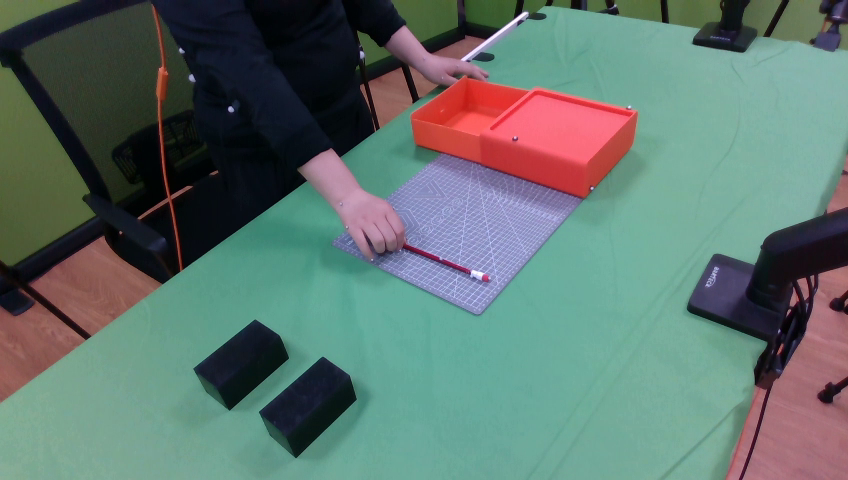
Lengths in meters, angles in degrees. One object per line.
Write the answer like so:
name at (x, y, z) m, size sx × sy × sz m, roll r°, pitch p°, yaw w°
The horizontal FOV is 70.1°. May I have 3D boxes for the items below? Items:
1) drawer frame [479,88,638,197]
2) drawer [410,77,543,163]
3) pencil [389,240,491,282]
drawer frame at (0.243, -0.184, 1.100) m, size 0.212 × 0.083 × 0.202 m, roll 23°, pitch 48°, yaw 30°
drawer at (0.114, -0.235, 1.186) m, size 0.210 × 0.073 × 0.195 m, roll 21°, pitch 46°, yaw 32°
pencil at (0.020, 0.029, 0.937) m, size 0.192 × 0.012 × 0.012 m, roll 21°, pitch 48°, yaw 31°
